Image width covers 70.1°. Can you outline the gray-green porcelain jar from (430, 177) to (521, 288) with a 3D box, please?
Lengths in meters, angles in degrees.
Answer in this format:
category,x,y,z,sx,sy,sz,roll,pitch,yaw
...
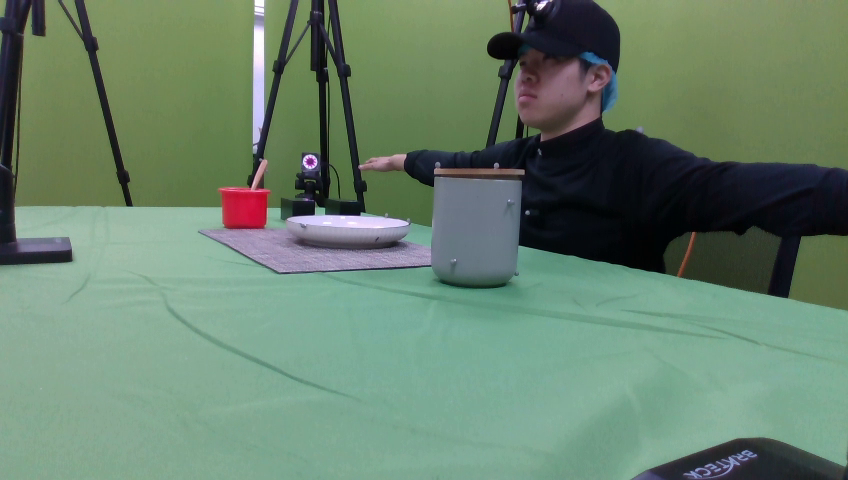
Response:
category,x,y,z,sx,sy,sz,roll,pitch,yaw
gray-green porcelain jar,0.060,-0.011,0.725,0.106,0.126,0.106,2,7,0

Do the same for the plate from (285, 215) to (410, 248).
category,x,y,z,sx,sy,sz,roll,pitch,yaw
plate,-0.127,-0.015,1.012,0.208,0.039,0.207,3,7,0

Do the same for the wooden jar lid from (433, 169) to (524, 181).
category,x,y,z,sx,sy,sz,roll,pitch,yaw
wooden jar lid,0.064,-0.074,0.717,0.108,0.020,0.108,0,5,0

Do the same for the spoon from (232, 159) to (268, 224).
category,x,y,z,sx,sy,sz,roll,pitch,yaw
spoon,-0.342,-0.101,1.218,0.041,0.021,0.193,4,51,4
